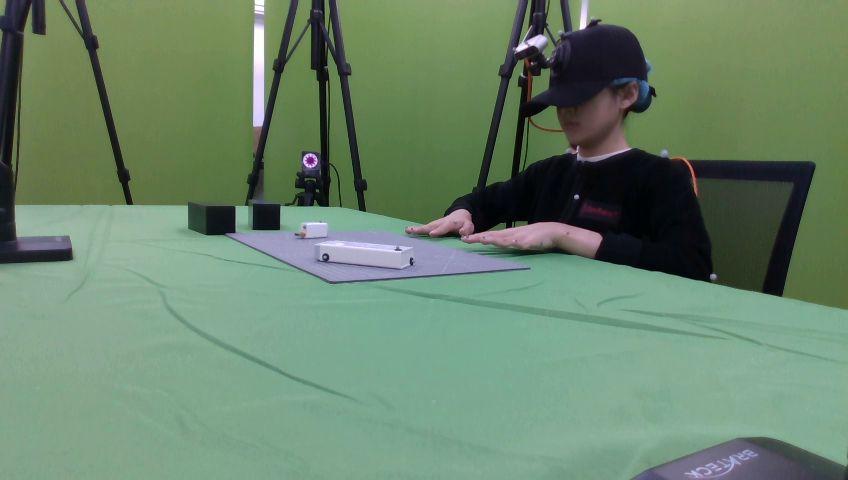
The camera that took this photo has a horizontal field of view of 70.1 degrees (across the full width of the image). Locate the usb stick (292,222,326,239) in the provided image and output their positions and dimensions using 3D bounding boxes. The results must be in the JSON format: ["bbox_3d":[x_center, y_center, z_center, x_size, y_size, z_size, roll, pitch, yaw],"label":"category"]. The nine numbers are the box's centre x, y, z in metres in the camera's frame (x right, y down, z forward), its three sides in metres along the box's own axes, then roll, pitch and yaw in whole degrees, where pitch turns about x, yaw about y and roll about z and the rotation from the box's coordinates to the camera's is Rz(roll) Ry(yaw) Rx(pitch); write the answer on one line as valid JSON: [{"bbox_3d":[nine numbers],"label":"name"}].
[{"bbox_3d":[-0.198,-0.016,1.036,0.021,0.027,0.059,14,16,41],"label":"usb stick"}]

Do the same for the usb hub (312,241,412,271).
[{"bbox_3d":[-0.082,0.020,0.804,0.125,0.025,0.049,5,8,17],"label":"usb hub"}]
